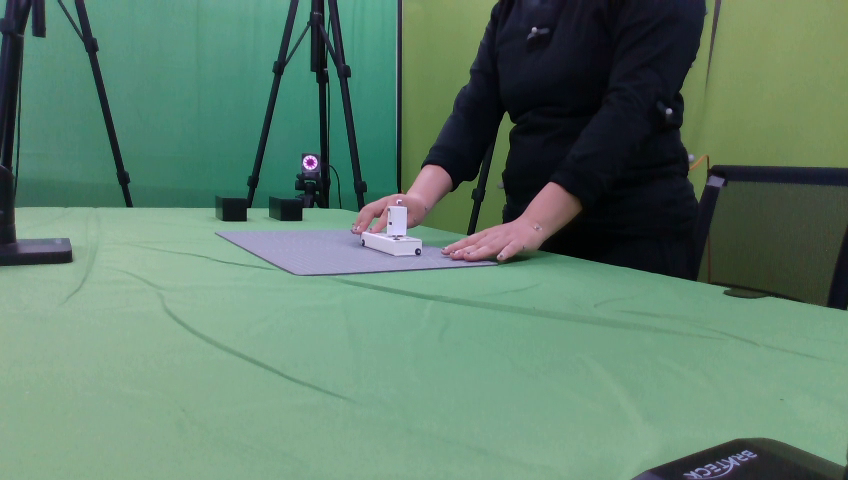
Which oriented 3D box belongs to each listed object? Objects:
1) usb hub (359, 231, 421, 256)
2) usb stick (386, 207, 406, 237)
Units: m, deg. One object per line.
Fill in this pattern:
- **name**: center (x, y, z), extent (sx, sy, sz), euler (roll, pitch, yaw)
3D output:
- **usb hub**: center (-0.056, 0.004, 0.953), extent (0.050, 0.025, 0.124), euler (-2, 8, -31)
- **usb stick**: center (-0.043, -0.022, 0.937), extent (0.027, 0.059, 0.021), euler (-6, 10, -34)
